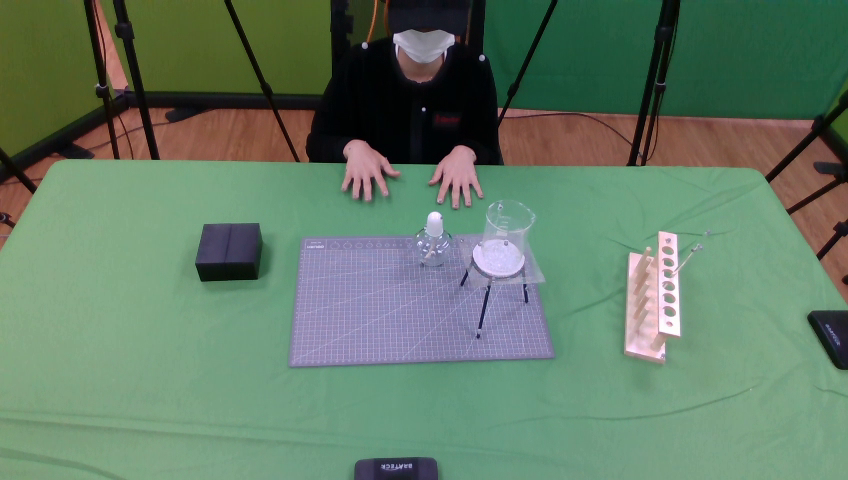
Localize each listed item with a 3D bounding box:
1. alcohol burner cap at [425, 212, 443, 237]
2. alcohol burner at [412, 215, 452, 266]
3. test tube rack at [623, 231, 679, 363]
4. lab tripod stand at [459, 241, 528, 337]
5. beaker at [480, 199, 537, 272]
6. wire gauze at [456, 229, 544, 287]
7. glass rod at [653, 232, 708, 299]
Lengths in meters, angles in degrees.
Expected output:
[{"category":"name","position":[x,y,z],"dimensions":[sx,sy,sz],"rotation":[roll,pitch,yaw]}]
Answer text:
[{"category":"alcohol burner cap","position":[0.019,-0.032,1.114],"dimensions":[0.034,0.048,0.033],"rotation":[0,49,0]},{"category":"alcohol burner","position":[0.016,-0.006,1.139],"dimensions":[0.078,0.119,0.077],"rotation":[2,48,-2]},{"category":"test tube rack","position":[0.410,0.094,1.096],"dimensions":[0.066,0.085,0.241],"rotation":[13,46,9]},{"category":"lab tripod stand","position":[0.122,0.075,1.054],"dimensions":[0.148,0.132,0.147],"rotation":[3,44,-2]},{"category":"beaker","position":[0.132,-0.004,0.973],"dimensions":[0.084,0.101,0.073],"rotation":[-4,47,-9]},{"category":"wire gauze","position":[0.125,0.030,1.008],"dimensions":[0.125,0.011,0.120],"rotation":[-3,48,-11]},{"category":"glass rod","position":[0.441,0.049,1.050],"dimensions":[0.008,0.200,0.008],"rotation":[4,52,-5]}]
